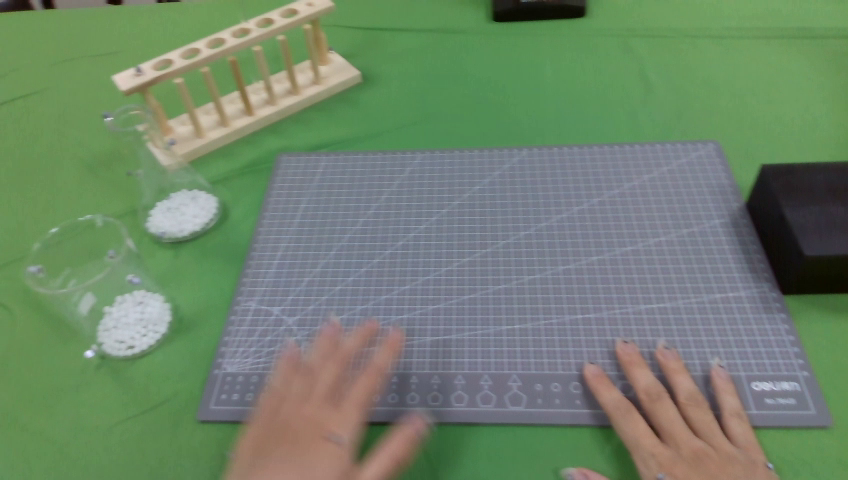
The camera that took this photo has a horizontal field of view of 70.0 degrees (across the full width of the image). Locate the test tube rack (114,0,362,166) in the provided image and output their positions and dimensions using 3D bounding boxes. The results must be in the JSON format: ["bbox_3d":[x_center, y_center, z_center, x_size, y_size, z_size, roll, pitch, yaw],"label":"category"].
[{"bbox_3d":[-0.192,-0.181,0.663,0.242,0.086,0.066,-31,53,-20],"label":"test tube rack"}]

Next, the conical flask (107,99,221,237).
[{"bbox_3d":[-0.237,-0.066,0.545,0.075,0.123,0.074,-2,49,3],"label":"conical flask"}]

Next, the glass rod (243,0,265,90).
[{"bbox_3d":[-0.185,-0.248,0.633,0.008,0.201,0.008,1,42,0],"label":"glass rod"}]

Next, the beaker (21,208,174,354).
[{"bbox_3d":[-0.247,0.035,0.475,0.074,0.101,0.083,-3,49,2],"label":"beaker"}]
